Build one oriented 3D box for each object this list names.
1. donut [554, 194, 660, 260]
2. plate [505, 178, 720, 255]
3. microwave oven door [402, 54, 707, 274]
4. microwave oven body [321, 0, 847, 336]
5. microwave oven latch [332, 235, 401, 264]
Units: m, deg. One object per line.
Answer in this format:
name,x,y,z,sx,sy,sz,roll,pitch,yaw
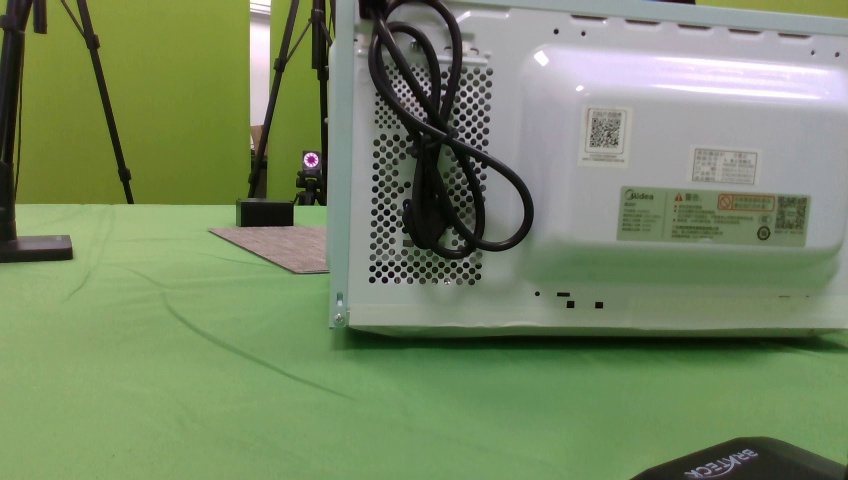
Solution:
donut,0.172,-0.015,0.574,0.099,0.048,0.099,-13,11,3
plate,0.184,-0.025,0.615,0.209,0.038,0.209,5,16,-1
microwave oven door,0.157,-0.085,0.717,0.357,0.243,0.039,1,8,-8
microwave oven body,0.133,-0.062,0.567,0.443,0.260,0.325,2,7,-8
microwave oven latch,-0.066,0.010,0.700,0.079,0.029,0.030,2,7,-8
